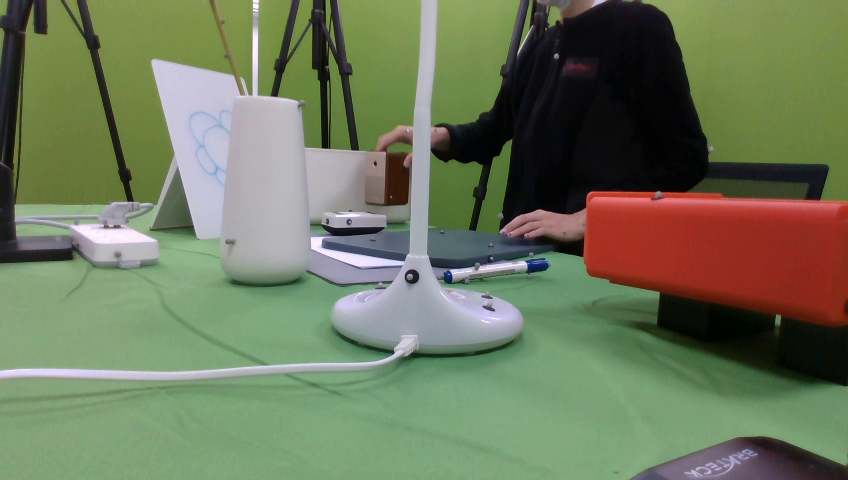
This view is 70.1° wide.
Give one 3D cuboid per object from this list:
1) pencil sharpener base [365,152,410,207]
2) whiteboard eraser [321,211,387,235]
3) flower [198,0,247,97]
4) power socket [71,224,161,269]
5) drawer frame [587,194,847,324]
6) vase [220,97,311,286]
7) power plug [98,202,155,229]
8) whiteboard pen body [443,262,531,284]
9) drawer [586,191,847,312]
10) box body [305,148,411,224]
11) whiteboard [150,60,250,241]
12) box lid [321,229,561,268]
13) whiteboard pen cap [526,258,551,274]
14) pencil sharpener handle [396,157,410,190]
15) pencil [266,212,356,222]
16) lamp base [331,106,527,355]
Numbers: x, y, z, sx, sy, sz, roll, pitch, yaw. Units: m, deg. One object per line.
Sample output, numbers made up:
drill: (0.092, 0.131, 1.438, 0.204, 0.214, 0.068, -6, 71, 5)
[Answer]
pencil sharpener base: (-0.070, -0.121, 1.206, 0.061, 0.107, 0.077, 8, 9, 41)
whiteboard eraser: (-0.128, -0.031, 1.108, 0.113, 0.042, 0.055, -3, 8, -38)
flower: (-0.187, -0.133, 0.648, 0.038, 0.362, 0.044, 0, 22, 43)
power socket: (-0.408, 0.004, 0.793, 0.072, 0.032, 0.225, -2, 8, -38)
drawer frame: (0.285, 0.004, 0.508, 0.203, 0.082, 0.212, -1, 6, -29)
vase: (-0.172, -0.052, 0.662, 0.098, 0.200, 0.098, 3, 9, 0)
power plug: (-0.416, -0.027, 0.848, 0.073, 0.052, 0.035, 0, 8, -28)
whiteboard pen body: (0.087, 0.038, 0.733, 0.141, 0.017, 0.017, -5, 10, -27)
drawer: (0.281, 0.001, 0.513, 0.195, 0.073, 0.210, -1, 8, -29)
box body: (-0.230, -0.126, 1.371, 0.366, 0.160, 0.253, -2, 8, -33)
whiteboard: (-0.408, -0.139, 1.093, 0.143, 0.305, 0.218, -15, -1, 26)
box lid: (0.040, 0.008, 0.996, 0.262, 0.015, 0.373, 7, 8, 34)
whiteboard pen cap: (0.141, 0.033, 0.759, 0.033, 0.018, 0.018, -7, 11, -26)
pencil sharpener handle: (-0.038, -0.137, 1.245, 0.036, 0.067, 0.031, 21, 18, 39)
pencil: (-0.245, -0.049, 1.319, 0.195, 0.012, 0.012, 3, 7, -13)
lamp base: (0.006, -0.012, 0.478, 0.161, 0.180, 0.179, 2, 10, 2)
